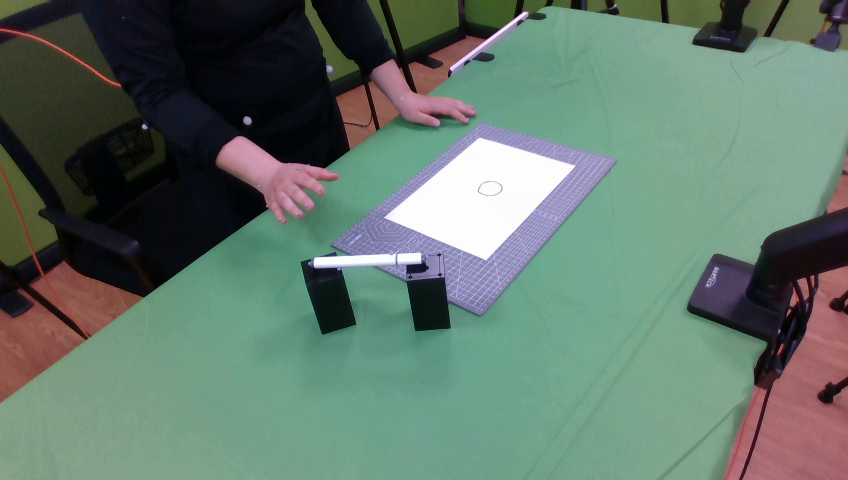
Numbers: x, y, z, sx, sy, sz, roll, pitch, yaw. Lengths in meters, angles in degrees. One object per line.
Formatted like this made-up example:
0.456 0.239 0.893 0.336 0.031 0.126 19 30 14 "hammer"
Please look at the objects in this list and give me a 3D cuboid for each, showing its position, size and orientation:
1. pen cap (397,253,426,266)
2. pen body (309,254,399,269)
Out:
-0.016 0.026 0.791 0.038 0.017 0.017 -3 40 3 "pen cap"
-0.079 0.029 0.797 0.144 0.017 0.017 -3 40 5 "pen body"
